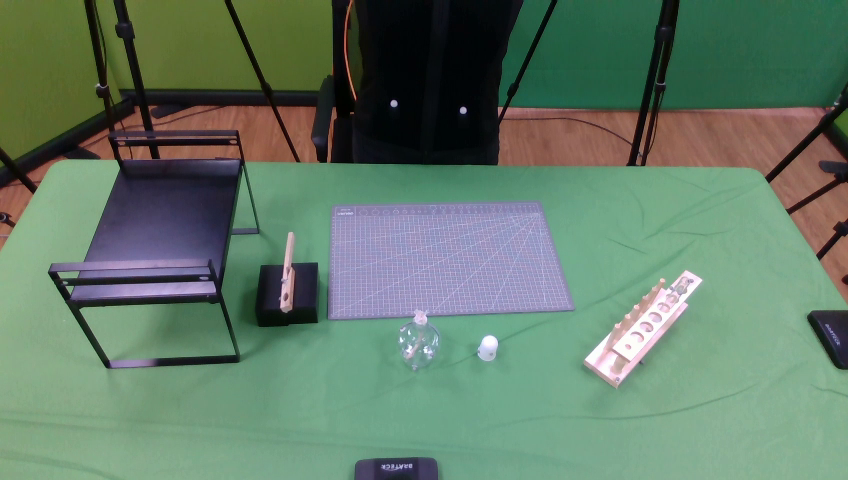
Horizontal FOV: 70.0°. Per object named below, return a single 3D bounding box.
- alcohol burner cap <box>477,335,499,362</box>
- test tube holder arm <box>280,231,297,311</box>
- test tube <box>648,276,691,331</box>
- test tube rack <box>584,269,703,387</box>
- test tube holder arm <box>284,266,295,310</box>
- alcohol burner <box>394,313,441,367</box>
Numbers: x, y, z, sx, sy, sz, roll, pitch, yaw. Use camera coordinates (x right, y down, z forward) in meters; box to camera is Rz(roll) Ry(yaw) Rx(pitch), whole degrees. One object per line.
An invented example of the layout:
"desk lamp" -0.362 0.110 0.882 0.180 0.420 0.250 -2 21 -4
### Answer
"alcohol burner cap" 0.109 0.179 1.017 0.034 0.048 0.033 4 50 -4
"test tube holder arm" -0.238 0.050 1.065 0.013 0.015 0.177 -12 46 6
"test tube" 0.405 0.108 1.007 0.017 0.151 0.017 3 51 -4
"test tube rack" 0.381 0.139 1.046 0.066 0.085 0.242 37 54 28
"test tube holder arm" -0.229 0.081 1.034 0.010 0.015 0.087 -13 46 6
"alcohol burner" -0.009 0.154 0.985 0.078 0.119 0.077 3 48 -3
